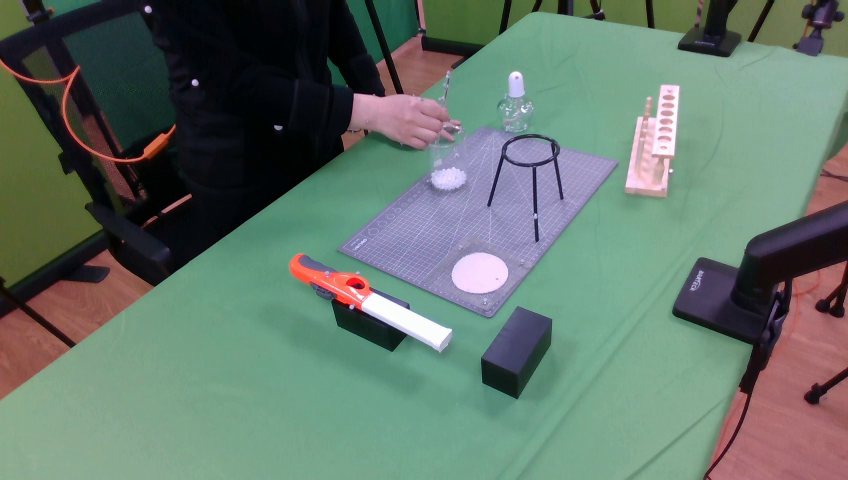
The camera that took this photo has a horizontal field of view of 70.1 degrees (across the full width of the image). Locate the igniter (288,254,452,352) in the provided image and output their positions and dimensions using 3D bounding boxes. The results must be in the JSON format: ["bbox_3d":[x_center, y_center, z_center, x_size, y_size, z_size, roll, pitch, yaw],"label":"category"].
[{"bbox_3d":[-0.083,0.079,0.818,0.274,0.025,0.057,23,46,27],"label":"igniter"}]

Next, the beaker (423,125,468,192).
[{"bbox_3d":[0.042,-0.144,1.078,0.073,0.100,0.084,28,51,34],"label":"beaker"}]

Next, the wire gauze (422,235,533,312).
[{"bbox_3d":[0.081,0.049,0.914,0.120,0.011,0.125,26,52,32],"label":"wire gauze"}]

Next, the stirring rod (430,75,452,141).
[{"bbox_3d":[0.026,-0.209,0.975,0.014,0.176,0.006,-28,73,-17],"label":"stirring rod"}]

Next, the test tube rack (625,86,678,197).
[{"bbox_3d":[0.412,-0.184,1.088,0.066,0.085,0.242,9,43,18],"label":"test tube rack"}]

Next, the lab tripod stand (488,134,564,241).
[{"bbox_3d":[0.168,-0.092,0.972,0.148,0.132,0.147,-5,41,5],"label":"lab tripod stand"}]

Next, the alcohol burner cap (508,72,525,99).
[{"bbox_3d":[0.181,-0.306,1.186,0.034,0.048,0.033,-7,39,6],"label":"alcohol burner cap"}]

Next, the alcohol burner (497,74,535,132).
[{"bbox_3d":[0.184,-0.278,1.210,0.078,0.119,0.077,-3,42,3],"label":"alcohol burner"}]
